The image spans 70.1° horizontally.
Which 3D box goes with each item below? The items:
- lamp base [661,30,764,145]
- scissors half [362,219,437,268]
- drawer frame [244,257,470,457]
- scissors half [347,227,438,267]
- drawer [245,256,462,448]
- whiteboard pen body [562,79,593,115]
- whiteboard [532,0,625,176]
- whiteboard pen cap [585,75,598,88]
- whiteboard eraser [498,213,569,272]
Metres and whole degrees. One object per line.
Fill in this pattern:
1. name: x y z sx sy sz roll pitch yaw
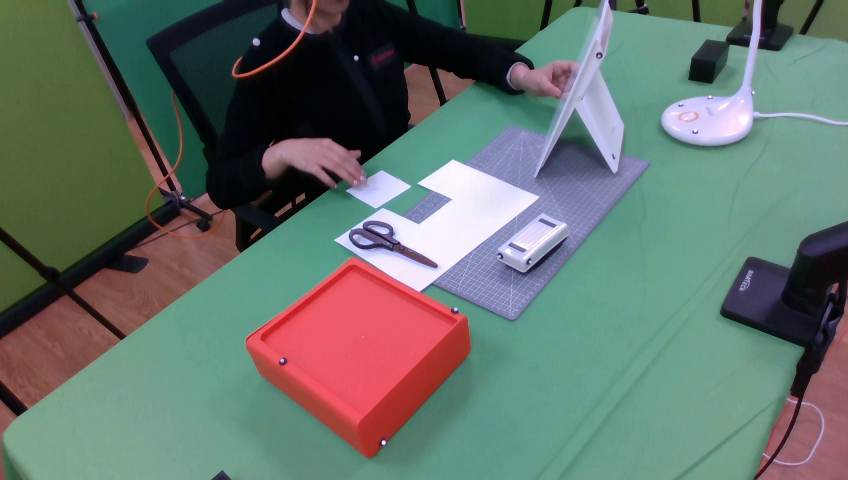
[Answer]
1. lamp base: 0.535 -0.287 1.096 0.179 0.181 0.159 -10 40 -4
2. scissors half: -0.039 0.005 0.987 0.040 0.013 0.173 -26 44 -33
3. drawer frame: -0.084 0.138 0.788 0.212 0.083 0.202 25 50 33
4. scissors half: -0.053 0.015 0.975 0.174 0.013 0.040 18 44 24
5. drawer: -0.089 0.136 0.792 0.210 0.073 0.195 26 51 34
6. whiteboard pen body: 0.328 -0.306 1.278 0.017 0.017 0.141 20 51 30
7. whiteboard: 0.320 -0.259 1.050 0.144 0.306 0.217 21 45 5
8. whiteboard pen cap: 0.362 -0.343 1.310 0.018 0.018 0.033 19 54 29
9. whiteboard eraser: 0.168 0.006 0.923 0.113 0.042 0.055 -36 48 -28
